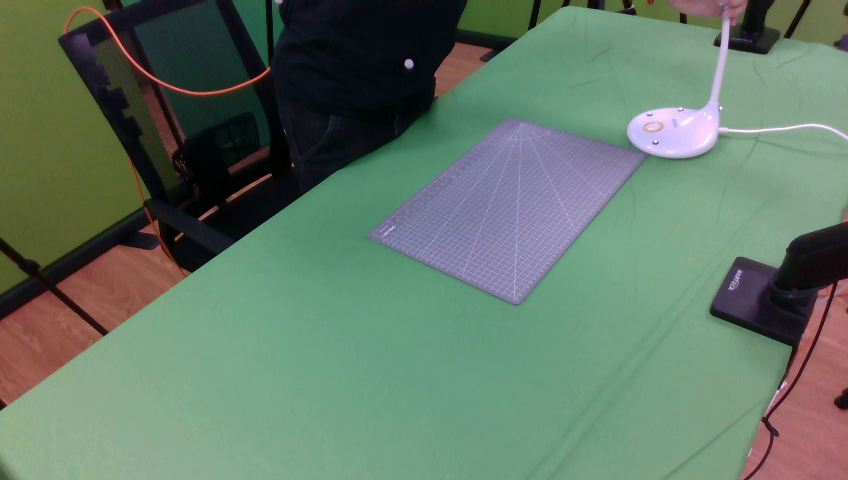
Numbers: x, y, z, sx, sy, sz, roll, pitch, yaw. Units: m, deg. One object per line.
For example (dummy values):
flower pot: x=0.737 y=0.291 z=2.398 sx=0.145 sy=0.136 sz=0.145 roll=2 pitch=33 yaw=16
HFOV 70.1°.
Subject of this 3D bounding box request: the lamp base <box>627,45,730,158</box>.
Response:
lamp base: x=0.469 y=-0.262 z=1.086 sx=0.179 sy=0.181 sz=0.159 roll=-4 pitch=41 yaw=-1
